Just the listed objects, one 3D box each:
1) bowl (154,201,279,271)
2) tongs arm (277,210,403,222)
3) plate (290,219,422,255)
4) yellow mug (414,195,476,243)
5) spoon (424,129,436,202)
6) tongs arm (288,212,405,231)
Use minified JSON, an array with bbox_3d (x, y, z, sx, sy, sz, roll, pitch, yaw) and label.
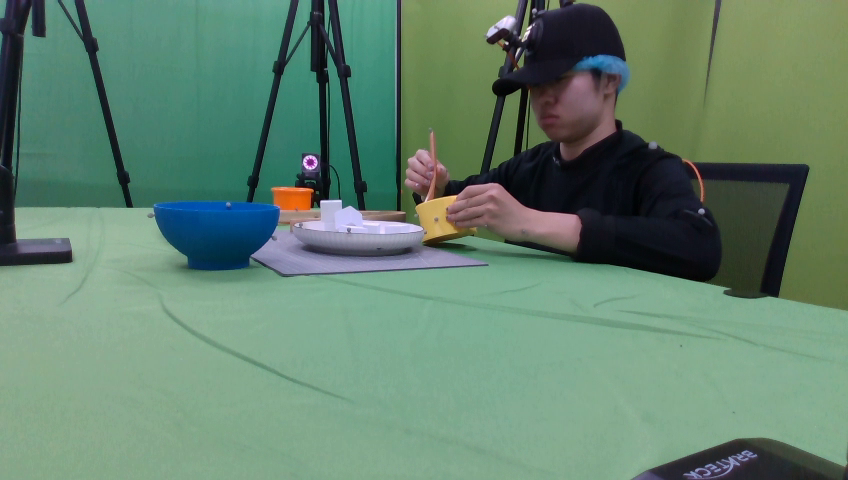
[{"bbox_3d":[-0.263,-0.005,0.773,0.151,0.077,0.151,3,8,0],"label":"bowl"},{"bbox_3d":[-0.206,-0.052,1.332,0.387,0.026,0.050,-2,8,-44],"label":"tongs arm"},{"bbox_3d":[-0.108,-0.005,0.963,0.208,0.039,0.207,3,7,0],"label":"plate"},{"bbox_3d":[0.045,-0.039,1.047,0.100,0.064,0.130,-7,-7,-31],"label":"yellow mug"},{"bbox_3d":[0.012,-0.107,1.079,0.021,0.193,0.042,-3,-14,32],"label":"spoon"},{"bbox_3d":[-0.146,-0.040,1.280,0.028,0.028,0.389,3,5,33],"label":"tongs arm"}]
